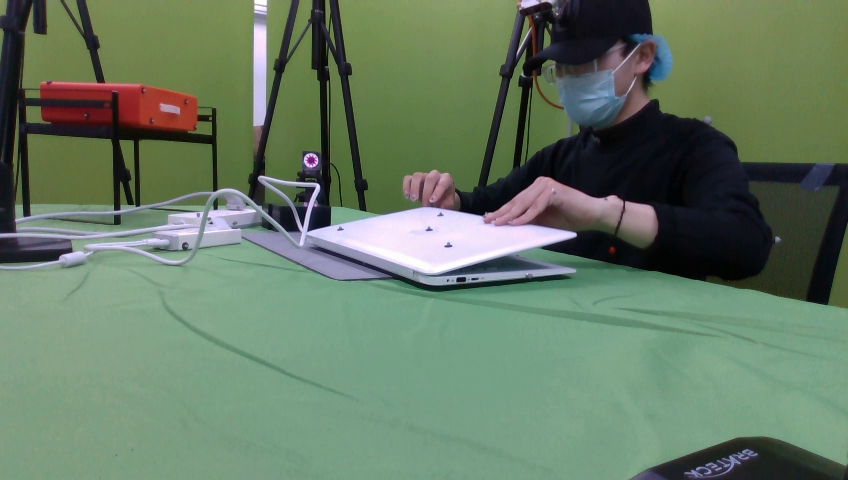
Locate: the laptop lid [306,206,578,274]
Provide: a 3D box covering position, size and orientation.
[{"bbox_3d":[0.007,-0.012,0.844,0.243,0.013,0.355,-12,15,-30],"label":"laptop lid"}]

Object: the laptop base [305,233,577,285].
[{"bbox_3d":[0.007,0.022,0.850,0.237,0.023,0.352,1,7,-34],"label":"laptop base"}]

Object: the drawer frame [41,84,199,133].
[{"bbox_3d":[-0.604,-0.264,1.225,0.213,0.082,0.202,3,8,8],"label":"drawer frame"}]

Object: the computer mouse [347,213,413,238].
[{"bbox_3d":[-0.079,-0.025,1.080,0.117,0.041,0.062,-5,11,-18],"label":"computer mouse"}]

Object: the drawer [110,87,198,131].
[{"bbox_3d":[-0.602,-0.263,1.225,0.211,0.073,0.195,3,8,10],"label":"drawer"}]

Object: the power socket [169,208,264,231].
[{"bbox_3d":[-0.381,-0.038,1.128,0.072,0.032,0.227,4,8,17],"label":"power socket"}]

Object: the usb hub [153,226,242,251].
[{"bbox_3d":[-0.337,-0.003,0.907,0.049,0.025,0.125,6,9,28],"label":"usb hub"}]

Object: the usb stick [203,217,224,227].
[{"bbox_3d":[-0.345,-0.020,1.007,0.021,0.027,0.059,-43,-2,-9],"label":"usb stick"}]

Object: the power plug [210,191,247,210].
[{"bbox_3d":[-0.386,-0.071,1.204,0.072,0.052,0.035,8,11,26],"label":"power plug"}]
